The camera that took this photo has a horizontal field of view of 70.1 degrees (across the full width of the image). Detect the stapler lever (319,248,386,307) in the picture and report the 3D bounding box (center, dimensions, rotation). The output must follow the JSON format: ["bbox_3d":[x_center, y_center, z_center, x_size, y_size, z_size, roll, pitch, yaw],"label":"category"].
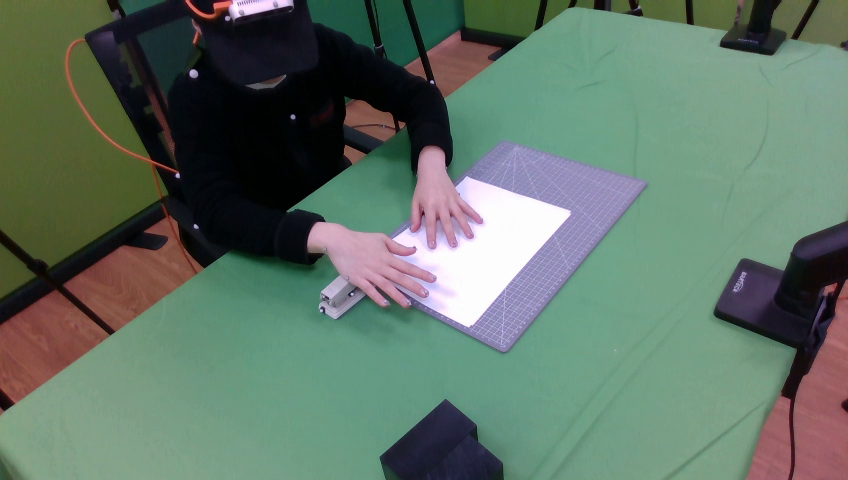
[{"bbox_3d":[-0.104,0.053,0.895,0.026,0.040,0.118,25,44,35],"label":"stapler lever"}]

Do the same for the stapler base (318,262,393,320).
[{"bbox_3d":[-0.102,0.066,0.907,0.041,0.024,0.131,25,52,35],"label":"stapler base"}]
